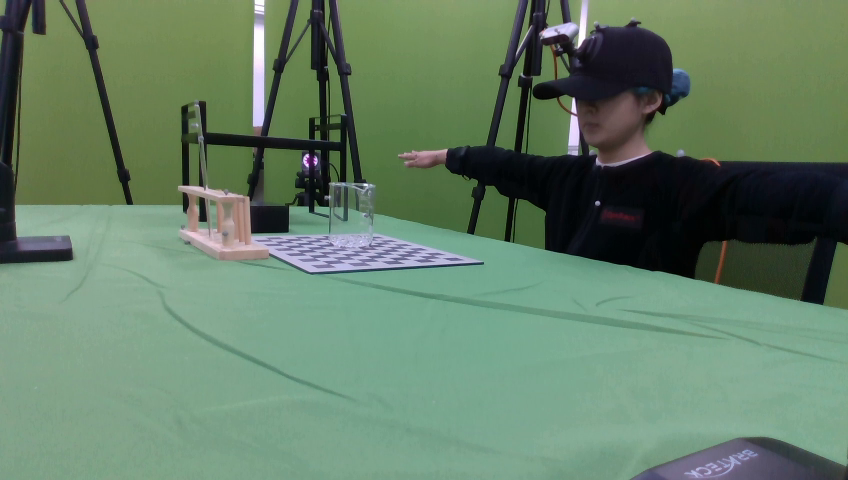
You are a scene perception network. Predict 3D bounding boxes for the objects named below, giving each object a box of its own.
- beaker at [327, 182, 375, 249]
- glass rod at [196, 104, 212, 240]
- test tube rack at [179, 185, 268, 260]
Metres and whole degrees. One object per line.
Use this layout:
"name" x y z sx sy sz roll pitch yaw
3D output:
"beaker" -0.114 -0.039 0.950 0.074 0.100 0.083 -2 9 -31
"glass rod" -0.317 -0.095 0.871 0.008 0.199 0.008 -4 4 1
"test tube rack" -0.303 -0.031 0.898 0.067 0.085 0.241 -2 9 -33
